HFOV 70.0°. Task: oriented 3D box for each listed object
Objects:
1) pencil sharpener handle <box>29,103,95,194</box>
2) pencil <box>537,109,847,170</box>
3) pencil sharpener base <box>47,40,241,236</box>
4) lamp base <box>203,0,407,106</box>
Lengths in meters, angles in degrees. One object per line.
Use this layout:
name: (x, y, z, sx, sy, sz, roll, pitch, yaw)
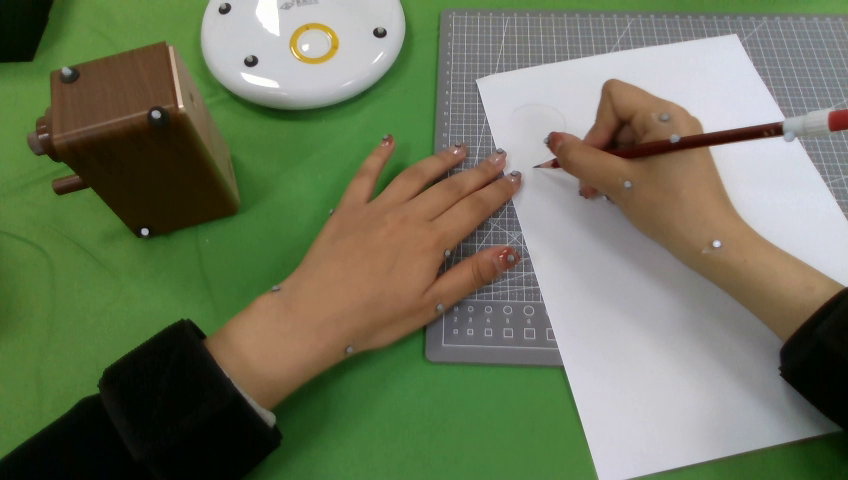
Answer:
pencil sharpener handle: (-0.218, -0.050, 0.360, 0.031, 0.068, 0.035, -17, 65, -7)
pencil: (0.135, -0.052, 0.345, 0.012, 0.193, 0.012, 47, 64, -26)
pencil sharpener base: (-0.169, -0.058, 0.377, 0.077, 0.108, 0.061, -17, 63, -7)
lamp base: (-0.102, -0.215, 0.418, 0.161, 0.182, 0.177, -27, 62, -12)
